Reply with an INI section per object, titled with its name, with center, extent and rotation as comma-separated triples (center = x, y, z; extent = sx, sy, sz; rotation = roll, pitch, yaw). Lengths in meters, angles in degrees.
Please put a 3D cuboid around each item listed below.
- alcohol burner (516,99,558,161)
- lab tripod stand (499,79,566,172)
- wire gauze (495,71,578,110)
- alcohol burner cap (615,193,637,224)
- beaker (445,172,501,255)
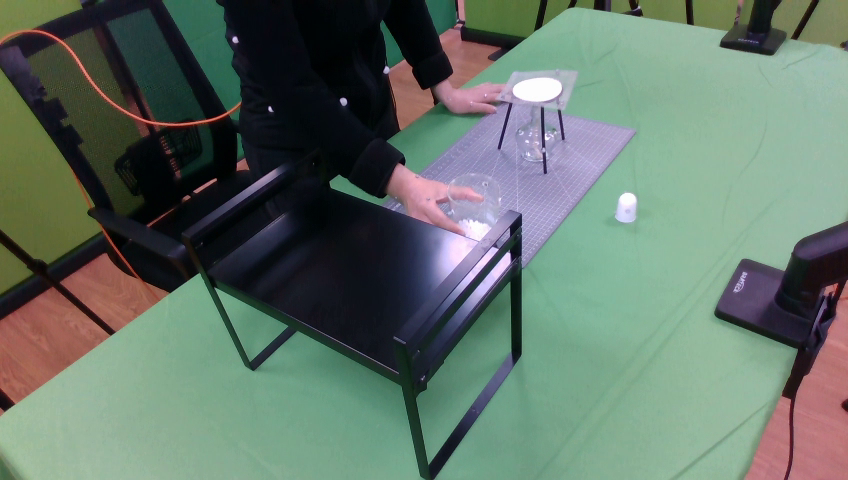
[alcohol burner]
center = 0.208, -0.206, 1.110
extent = 0.078, 0.119, 0.077
rotation = -3, 41, 3
[lab tripod stand]
center = 0.204, -0.215, 1.107
extent = 0.148, 0.132, 0.147
rotation = -6, 41, 5
[wire gauze]
center = 0.199, -0.268, 1.065
extent = 0.124, 0.011, 0.121
rotation = 10, 44, 22
[alcohol burner cap]
center = 0.327, -0.053, 0.974
extent = 0.034, 0.048, 0.033
rotation = -4, 38, 4
[beaker]
center = 0.074, -0.034, 0.857
extent = 0.083, 0.100, 0.074
rotation = 29, 54, 29
